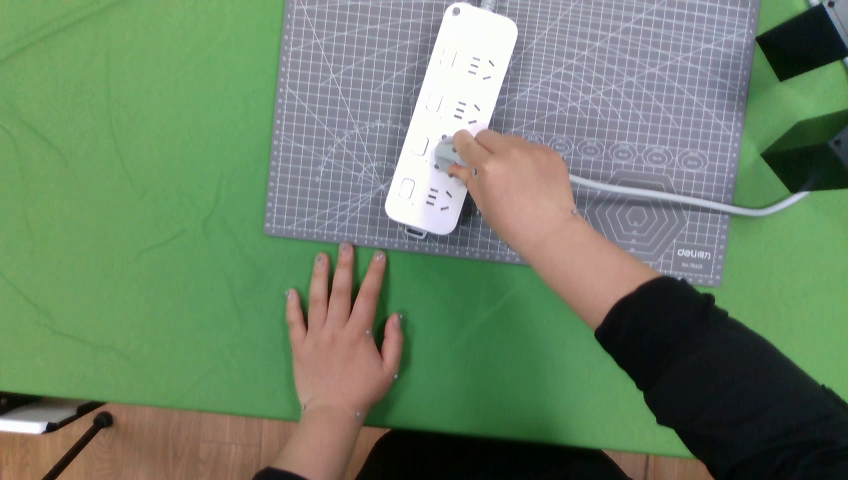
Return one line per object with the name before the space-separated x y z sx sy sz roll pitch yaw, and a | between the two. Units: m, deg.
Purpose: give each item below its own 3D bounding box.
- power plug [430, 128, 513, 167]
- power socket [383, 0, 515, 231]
power plug | 0.039 -0.075 0.551 0.072 0.052 0.035 32 92 -2
power socket | 0.022 -0.118 0.567 0.072 0.032 0.227 17 94 -3
